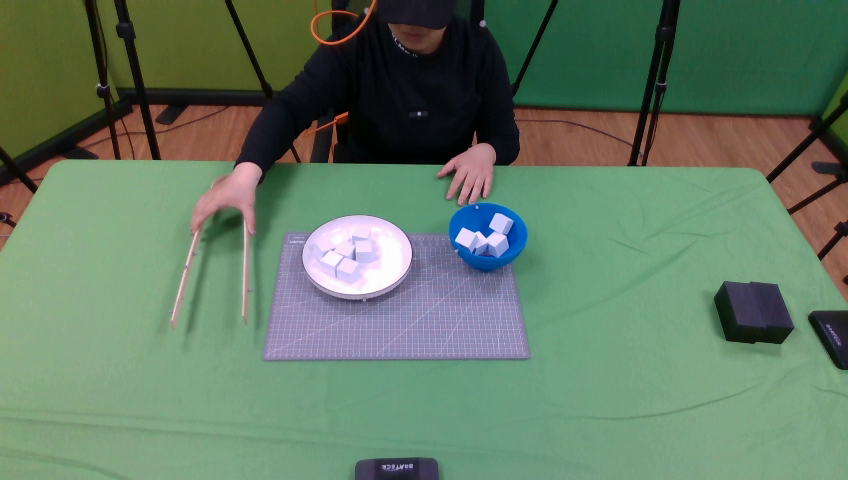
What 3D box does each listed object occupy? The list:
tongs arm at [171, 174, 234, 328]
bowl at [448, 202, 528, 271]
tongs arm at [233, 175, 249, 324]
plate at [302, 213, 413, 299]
[{"bbox_3d":[-0.406,0.005,1.131,0.051,0.026,0.382,-3,44,-5],"label":"tongs arm"},{"bbox_3d":[0.118,0.006,1.160,0.151,0.077,0.150,2,46,-2],"label":"bowl"},{"bbox_3d":[-0.344,0.002,1.140,0.028,0.028,0.385,-10,46,-8],"label":"tongs arm"},{"bbox_3d":[-0.124,0.033,1.143,0.208,0.039,0.206,2,46,-2],"label":"plate"}]
